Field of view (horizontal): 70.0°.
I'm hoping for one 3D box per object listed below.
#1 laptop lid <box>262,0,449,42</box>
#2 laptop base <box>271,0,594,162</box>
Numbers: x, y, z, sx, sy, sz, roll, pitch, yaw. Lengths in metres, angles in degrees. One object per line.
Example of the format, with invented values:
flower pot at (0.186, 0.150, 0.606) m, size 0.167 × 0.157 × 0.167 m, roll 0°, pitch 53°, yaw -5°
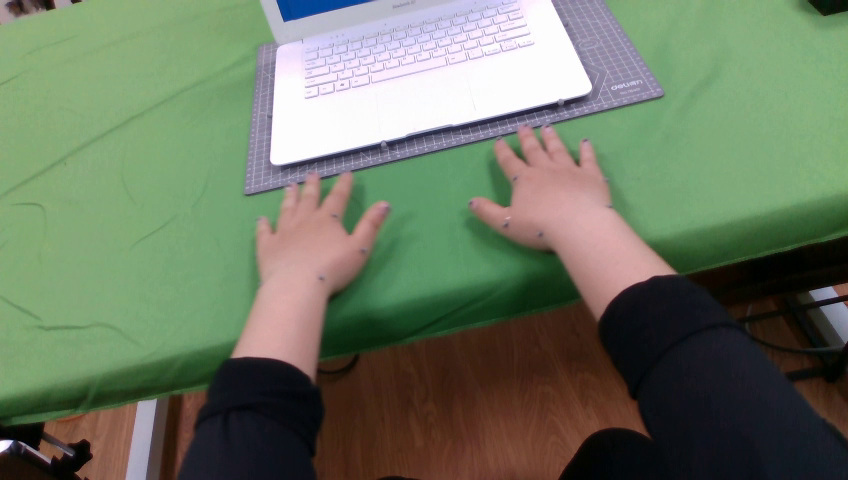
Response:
laptop lid at (-0.044, -0.379, 0.712) m, size 0.356 × 0.244 × 0.013 m, roll -13°, pitch 41°, yaw 5°
laptop base at (-0.005, -0.204, 0.715) m, size 0.354 × 0.023 × 0.233 m, roll -12°, pitch 52°, yaw 4°
